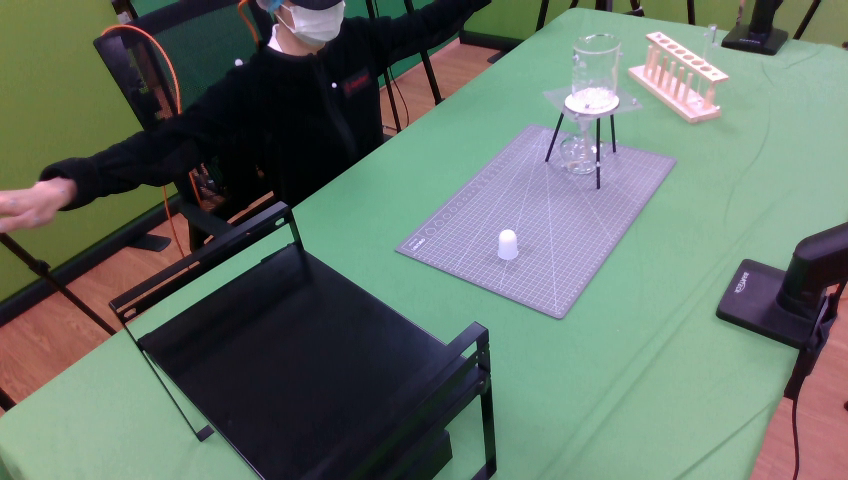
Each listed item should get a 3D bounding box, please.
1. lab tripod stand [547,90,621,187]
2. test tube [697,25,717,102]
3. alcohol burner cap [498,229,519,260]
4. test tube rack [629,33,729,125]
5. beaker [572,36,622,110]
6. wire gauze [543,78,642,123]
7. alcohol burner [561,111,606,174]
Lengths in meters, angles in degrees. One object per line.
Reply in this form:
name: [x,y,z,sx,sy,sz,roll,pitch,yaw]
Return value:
lab tripod stand: [0.289,-0.184,1.062,0.148,0.132,0.147,-6,41,6]
test tube: [0.546,-0.337,1.166,0.017,0.151,0.017,-5,36,4]
alcohol burner cap: [0.131,0.004,0.938,0.034,0.048,0.033,-4,40,4]
test tube rack: [0.516,-0.337,1.247,0.067,0.085,0.240,-14,41,-7]
beaker: [0.279,-0.274,0.992,0.074,0.101,0.083,-14,40,-5]
wire gauze: [0.282,-0.234,1.021,0.125,0.011,0.120,-17,38,-4]
alcohol burner: [0.283,-0.177,1.071,0.078,0.119,0.077,-5,42,5]
